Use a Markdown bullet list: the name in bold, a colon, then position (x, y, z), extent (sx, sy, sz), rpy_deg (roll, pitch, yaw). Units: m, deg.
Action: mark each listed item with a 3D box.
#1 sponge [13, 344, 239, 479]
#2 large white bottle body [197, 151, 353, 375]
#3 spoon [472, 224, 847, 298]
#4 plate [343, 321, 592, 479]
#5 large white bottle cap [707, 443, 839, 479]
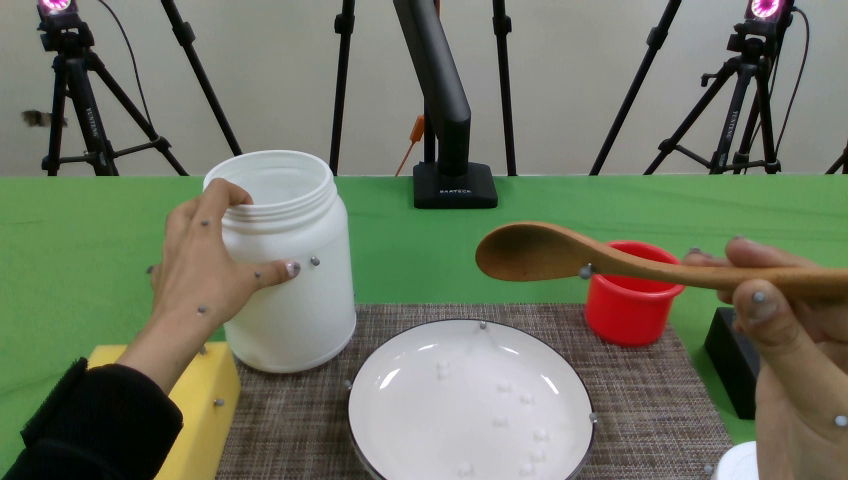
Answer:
- **sponge**: position (-0.228, 0.172, 0.465), extent (0.118, 0.061, 0.205), rpy_deg (-2, 33, -1)
- **large white bottle body**: position (-0.139, 0.021, 0.578), extent (0.130, 0.186, 0.129), rpy_deg (0, 34, 0)
- **spoon**: position (0.112, 0.014, 0.269), extent (0.192, 0.042, 0.021), rpy_deg (6, 47, 31)
- **plate**: position (0.036, 0.151, 0.523), extent (0.209, 0.038, 0.207), rpy_deg (1, 33, 0)
- **large white bottle cap**: position (0.279, 0.207, 0.466), extent (0.115, 0.018, 0.114), rpy_deg (3, 34, -2)
